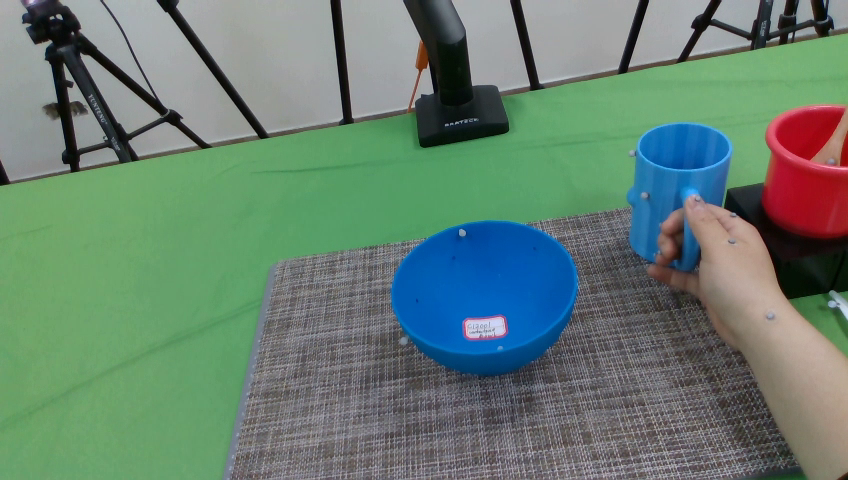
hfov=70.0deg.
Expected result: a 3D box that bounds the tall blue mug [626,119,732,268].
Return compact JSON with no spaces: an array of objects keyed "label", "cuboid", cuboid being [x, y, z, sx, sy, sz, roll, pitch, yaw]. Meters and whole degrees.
[{"label":"tall blue mug","cuboid":[0.234,-0.035,0.541,0.078,0.109,0.106,-20,41,-9]}]

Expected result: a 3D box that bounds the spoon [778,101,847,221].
[{"label":"spoon","cuboid":[0.348,-0.104,0.494,0.041,0.022,0.194,30,100,40]}]

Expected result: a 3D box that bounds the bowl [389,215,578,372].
[{"label":"bowl","cuboid":[0.052,0.057,0.507,0.151,0.077,0.150,-7,41,7]}]

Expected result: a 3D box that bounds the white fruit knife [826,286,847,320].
[{"label":"white fruit knife","cuboid":[0.348,0.105,0.434,0.027,0.016,0.205,13,37,-14]}]
